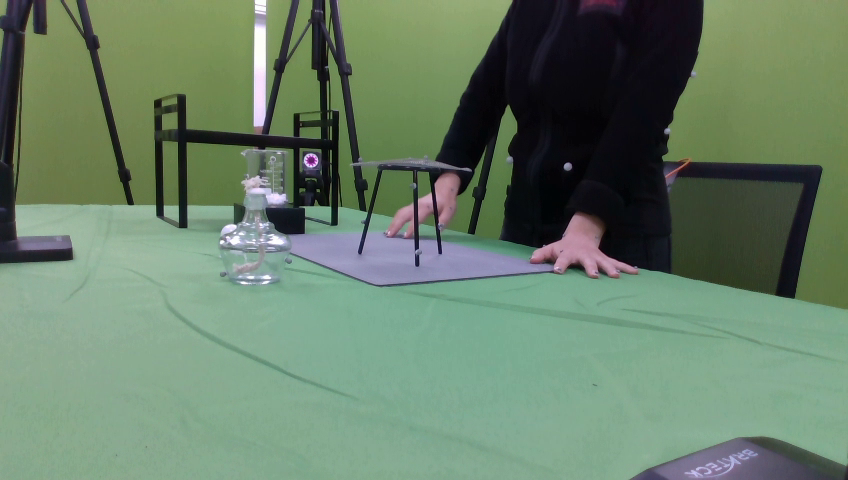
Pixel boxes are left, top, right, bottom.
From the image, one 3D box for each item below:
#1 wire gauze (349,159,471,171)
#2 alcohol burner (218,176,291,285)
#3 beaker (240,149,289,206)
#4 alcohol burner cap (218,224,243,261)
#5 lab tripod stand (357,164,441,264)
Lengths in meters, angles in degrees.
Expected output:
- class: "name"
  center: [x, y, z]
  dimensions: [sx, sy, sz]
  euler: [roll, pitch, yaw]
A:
- class: "wire gauze"
  center: [-0.019, -0.106, 0.847]
  dimensions: [0.121, 0.011, 0.126]
  euler: [8, 7, 42]
- class: "alcohol burner"
  center: [-0.187, -0.011, 0.668]
  dimensions: [0.078, 0.119, 0.078]
  euler: [2, 10, 0]
- class: "beaker"
  center: [-0.286, -0.112, 1.086]
  dimensions: [0.084, 0.100, 0.073]
  euler: [-1, 9, -23]
- class: "alcohol burner cap"
  center: [-0.263, 0.002, 0.824]
  dimensions: [0.034, 0.048, 0.034]
  euler: [5, 9, 0]
- class: "lab tripod stand"
  center: [-0.023, -0.041, 0.859]
  dimensions: [0.148, 0.131, 0.148]
  euler: [2, 5, 0]
